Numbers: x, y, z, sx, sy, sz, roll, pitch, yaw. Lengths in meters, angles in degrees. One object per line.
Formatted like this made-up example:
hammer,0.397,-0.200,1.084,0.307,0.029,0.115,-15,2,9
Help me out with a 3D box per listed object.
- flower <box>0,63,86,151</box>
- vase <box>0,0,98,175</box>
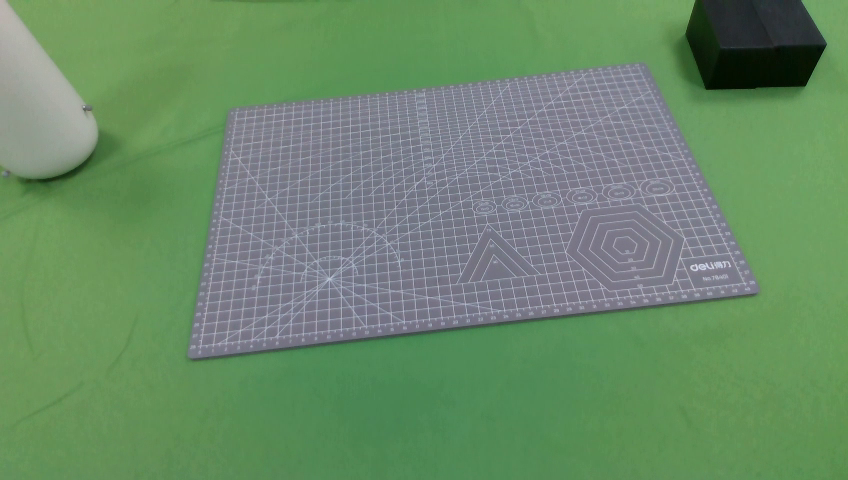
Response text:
flower,-0.411,-0.205,0.487,0.038,0.366,0.044,12,58,35
vase,-0.384,-0.153,0.549,0.098,0.202,0.097,-2,51,3
